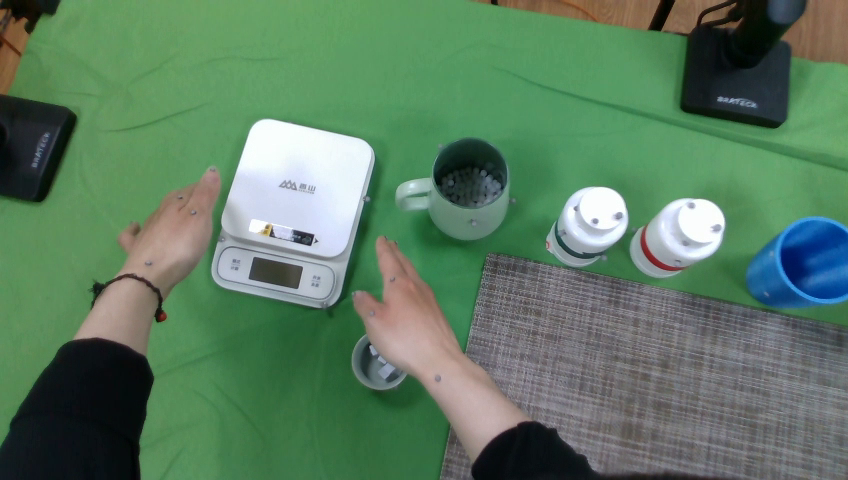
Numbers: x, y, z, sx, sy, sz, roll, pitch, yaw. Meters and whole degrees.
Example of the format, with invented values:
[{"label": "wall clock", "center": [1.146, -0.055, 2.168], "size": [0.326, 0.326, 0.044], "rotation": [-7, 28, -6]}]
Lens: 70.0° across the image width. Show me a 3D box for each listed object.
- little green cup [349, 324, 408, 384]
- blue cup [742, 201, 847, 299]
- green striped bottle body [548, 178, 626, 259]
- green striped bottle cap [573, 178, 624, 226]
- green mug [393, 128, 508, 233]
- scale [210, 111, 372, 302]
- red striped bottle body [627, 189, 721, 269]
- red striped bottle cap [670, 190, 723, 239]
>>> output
[{"label": "little green cup", "center": [-0.045, 0.120, 0.637], "size": [0.061, 0.039, 0.061], "rotation": [0, 78, 2]}, {"label": "blue cup", "center": [0.377, 0.021, 0.619], "size": [0.092, 0.101, 0.092], "rotation": [-1, 76, 3]}, {"label": "green striped bottle body", "center": [0.168, -0.023, 0.625], "size": [0.063, 0.120, 0.063], "rotation": [0, 75, 2]}, {"label": "green striped bottle cap", "center": [0.165, -0.036, 0.574], "size": [0.044, 0.020, 0.044], "rotation": [0, 78, 1]}, {"label": "green mug", "center": [0.029, -0.059, 0.645], "size": [0.125, 0.105, 0.092], "rotation": [-9, 76, 0]}, {"label": "scale", "center": [-0.149, -0.040, 0.681], "size": [0.148, 0.032, 0.200], "rotation": [12, 78, 4]}, {"label": "red striped bottle body", "center": [0.257, -0.011, 0.620], "size": [0.063, 0.120, 0.062], "rotation": [0, 76, 1]}, {"label": "red striped bottle cap", "center": [0.256, -0.024, 0.569], "size": [0.044, 0.018, 0.044], "rotation": [0, 79, 2]}]
